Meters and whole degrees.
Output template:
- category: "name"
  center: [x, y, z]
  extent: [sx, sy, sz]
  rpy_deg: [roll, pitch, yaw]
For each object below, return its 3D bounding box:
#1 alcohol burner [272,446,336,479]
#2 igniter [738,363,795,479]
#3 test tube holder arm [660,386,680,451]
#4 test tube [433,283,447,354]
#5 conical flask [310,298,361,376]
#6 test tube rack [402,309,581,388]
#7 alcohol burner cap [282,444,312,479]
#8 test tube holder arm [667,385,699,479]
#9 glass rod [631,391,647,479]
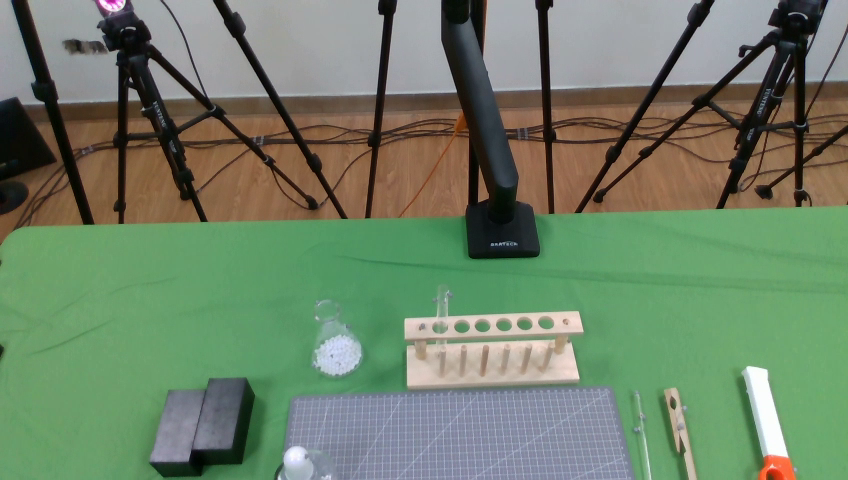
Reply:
- category: "alcohol burner"
  center: [-0.146, 0.278, 0.724]
  extent: [0.078, 0.120, 0.077]
  rpy_deg: [-2, 48, 3]
- category: "igniter"
  center: [0.443, 0.282, 0.766]
  extent: [0.057, 0.025, 0.274]
  rpy_deg: [11, 50, -2]
- category: "test tube holder arm"
  center: [0.334, 0.239, 0.814]
  extent: [0.010, 0.015, 0.087]
  rpy_deg: [-26, 43, 29]
- category: "test tube"
  center: [0.021, 0.110, 0.822]
  extent: [0.017, 0.151, 0.017]
  rpy_deg: [0, 47, 0]
- category: "conical flask"
  center: [-0.131, 0.131, 0.848]
  extent: [0.075, 0.123, 0.074]
  rpy_deg: [-1, 49, 1]
- category: "test tube rack"
  center: [0.092, 0.153, 0.849]
  extent: [0.242, 0.086, 0.066]
  rpy_deg: [-3, 49, -1]
- category: "alcohol burner cap"
  center: [-0.148, 0.253, 0.698]
  extent: [0.034, 0.048, 0.033]
  rpy_deg: [2, 46, -2]
- category: "test tube holder arm"
  center: [0.338, 0.271, 0.783]
  extent: [0.013, 0.015, 0.176]
  rpy_deg: [-27, 42, 27]
- category: "glass rod"
  center: [0.281, 0.287, 0.779]
  extent: [0.008, 0.008, 0.198]
  rpy_deg: [4, 52, 4]
